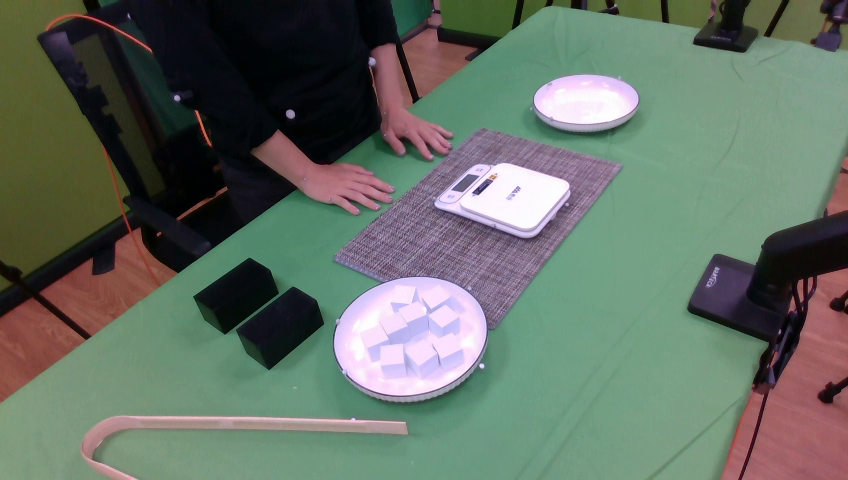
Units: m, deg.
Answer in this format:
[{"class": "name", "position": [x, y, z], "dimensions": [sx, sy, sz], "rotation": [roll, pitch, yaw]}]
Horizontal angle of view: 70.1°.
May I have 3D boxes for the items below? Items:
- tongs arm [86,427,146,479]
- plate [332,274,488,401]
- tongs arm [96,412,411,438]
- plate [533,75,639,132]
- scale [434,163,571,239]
[{"class": "tongs arm", "position": [-0.232, 0.280, 0.665], "dimensions": [0.383, 0.026, 0.051], "rotation": [9, 42, 20]}, {"class": "plate", "position": [-0.017, 0.130, 0.808], "dimensions": [0.207, 0.039, 0.206], "rotation": [-4, 41, 4]}, {"class": "tongs arm", "position": [-0.208, 0.226, 0.731], "dimensions": [0.387, 0.028, 0.028], "rotation": [-1, 44, 8]}, {"class": "plate", "position": [0.327, -0.272, 1.228], "dimensions": [0.209, 0.038, 0.208], "rotation": [-4, 40, 4]}, {"class": "scale", "position": [0.132, -0.075, 1.025], "dimensions": [0.199, 0.032, 0.149], "rotation": [22, 48, 30]}]
